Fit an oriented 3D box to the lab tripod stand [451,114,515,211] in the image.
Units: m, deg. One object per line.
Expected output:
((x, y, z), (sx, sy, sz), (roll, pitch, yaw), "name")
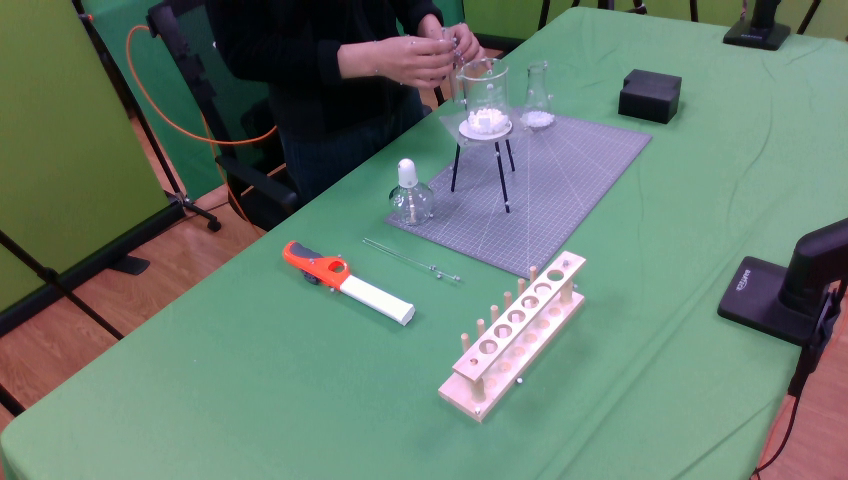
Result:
((0.113, -0.140, 1.037), (0.148, 0.132, 0.147), (-6, 38, 5), "lab tripod stand")

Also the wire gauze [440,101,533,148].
((0.100, -0.189, 0.995), (0.125, 0.011, 0.120), (-16, 37, -6), "wire gauze")

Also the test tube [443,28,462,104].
((0.051, -0.304, 1.071), (0.017, 0.151, 0.017), (-6, 48, 7), "test tube")

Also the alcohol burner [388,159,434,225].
((-0.023, -0.084, 1.013), (0.078, 0.119, 0.077), (-4, 39, 4), "alcohol burner")

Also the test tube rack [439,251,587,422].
((0.118, 0.111, 0.780), (0.066, 0.085, 0.243), (26, 51, 35), "test tube rack")

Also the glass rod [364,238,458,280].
((-0.026, 0.029, 0.966), (0.198, 0.008, 0.008), (21, 49, 35), "glass rod")

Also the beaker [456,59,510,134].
((0.098, -0.226, 0.964), (0.084, 0.101, 0.073), (-7, 39, 4), "beaker")

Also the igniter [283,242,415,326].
((-0.126, 0.062, 0.931), (0.274, 0.025, 0.057), (24, 61, 33), "igniter")

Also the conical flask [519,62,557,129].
((0.225, -0.288, 1.198), (0.075, 0.122, 0.075), (-6, 40, 5), "conical flask")

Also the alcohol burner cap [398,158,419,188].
((-0.027, -0.111, 0.989), (0.034, 0.048, 0.033), (-3, 47, 4), "alcohol burner cap")
